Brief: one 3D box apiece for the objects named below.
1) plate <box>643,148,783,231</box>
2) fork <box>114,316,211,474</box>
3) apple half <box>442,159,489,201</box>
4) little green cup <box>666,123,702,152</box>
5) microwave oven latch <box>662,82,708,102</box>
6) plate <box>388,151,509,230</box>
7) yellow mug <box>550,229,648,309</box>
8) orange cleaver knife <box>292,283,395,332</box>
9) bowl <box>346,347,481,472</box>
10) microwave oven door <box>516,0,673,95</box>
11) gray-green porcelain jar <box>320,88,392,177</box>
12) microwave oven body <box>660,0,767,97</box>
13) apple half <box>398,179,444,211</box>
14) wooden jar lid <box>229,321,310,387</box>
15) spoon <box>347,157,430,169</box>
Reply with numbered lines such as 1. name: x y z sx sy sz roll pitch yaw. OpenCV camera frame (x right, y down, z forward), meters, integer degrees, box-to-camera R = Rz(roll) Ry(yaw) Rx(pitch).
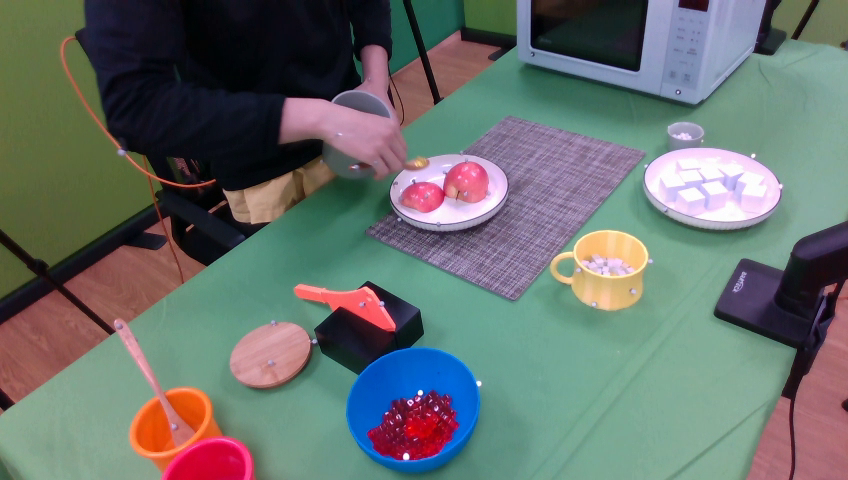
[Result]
1. plate: 0.464 -0.080 0.986 0.207 0.039 0.206 -4 41 4
2. fork: -0.309 0.179 0.708 0.028 0.018 0.207 -30 89 -24
3. apple half: 0.074 -0.111 1.047 0.080 0.053 0.075 21 46 30
4. little green cup: 0.472 -0.183 1.102 0.061 0.039 0.061 -5 41 5
5. microwave oven latch: 0.518 -0.299 1.203 0.078 0.029 0.030 29 53 36
6. plate: 0.044 -0.082 1.042 0.209 0.038 0.208 -4 40 4
7. yellow mug: 0.245 0.040 0.857 0.130 0.064 0.099 1 42 11
8. orange cleaver knife: -0.115 0.092 0.835 0.209 0.077 0.012 1 32 48
9. bowl: -0.008 0.205 0.691 0.151 0.077 0.150 -4 40 4
10. microwave oven door: 0.344 -0.458 1.256 0.353 0.245 0.039 26 51 33
11. gray-green porcelain jar: -0.119 -0.177 1.030 0.106 0.126 0.105 8 60 -13
12. microwave oven body: 0.473 -0.517 1.313 0.438 0.261 0.327 26 51 34
13. apple half: -0.004 -0.088 1.045 0.081 0.033 0.081 -1 43 1
14. wooden jar lid: -0.207 0.156 0.821 0.108 0.021 0.108 -3 39 3
15. spoon: -0.052 -0.117 0.912 0.041 0.021 0.195 14 12 31
